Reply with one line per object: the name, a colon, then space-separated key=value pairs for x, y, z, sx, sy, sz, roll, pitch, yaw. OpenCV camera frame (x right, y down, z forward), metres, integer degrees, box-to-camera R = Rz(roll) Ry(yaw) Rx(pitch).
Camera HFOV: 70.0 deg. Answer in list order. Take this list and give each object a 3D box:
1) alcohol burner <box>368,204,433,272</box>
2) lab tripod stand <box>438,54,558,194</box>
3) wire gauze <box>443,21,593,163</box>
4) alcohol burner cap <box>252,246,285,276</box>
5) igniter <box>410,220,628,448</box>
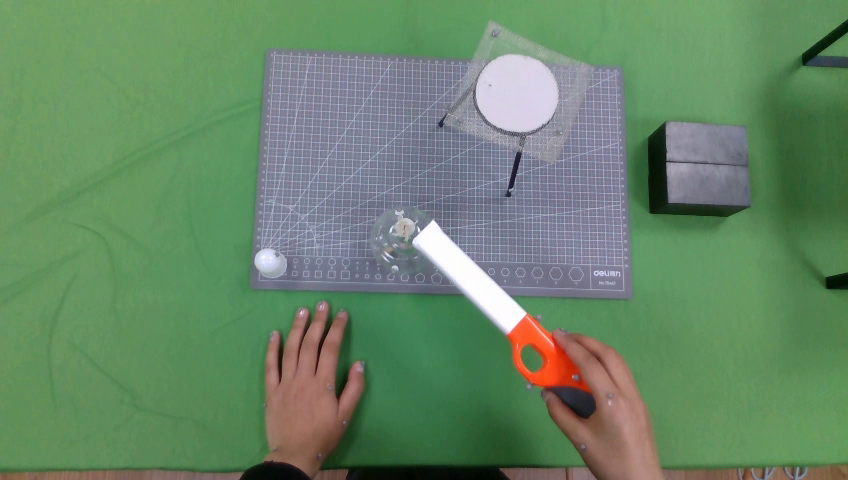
alcohol burner: x=-0.023 y=-0.005 z=0.661 sx=0.078 sy=0.119 sz=0.077 roll=1 pitch=80 yaw=-4
lab tripod stand: x=0.092 y=-0.141 z=0.685 sx=0.148 sy=0.132 sz=0.147 roll=1 pitch=77 yaw=-4
wire gauze: x=0.098 y=-0.151 z=0.619 sx=0.121 sy=0.011 sz=0.124 roll=24 pitch=77 yaw=0
alcohol burner cap: x=-0.177 y=0.022 z=0.680 sx=0.034 sy=0.048 sz=0.033 roll=1 pitch=79 yaw=-5
igniter: x=0.092 y=0.088 z=0.579 sx=0.276 sy=0.025 sz=0.057 roll=45 pitch=77 yaw=3
